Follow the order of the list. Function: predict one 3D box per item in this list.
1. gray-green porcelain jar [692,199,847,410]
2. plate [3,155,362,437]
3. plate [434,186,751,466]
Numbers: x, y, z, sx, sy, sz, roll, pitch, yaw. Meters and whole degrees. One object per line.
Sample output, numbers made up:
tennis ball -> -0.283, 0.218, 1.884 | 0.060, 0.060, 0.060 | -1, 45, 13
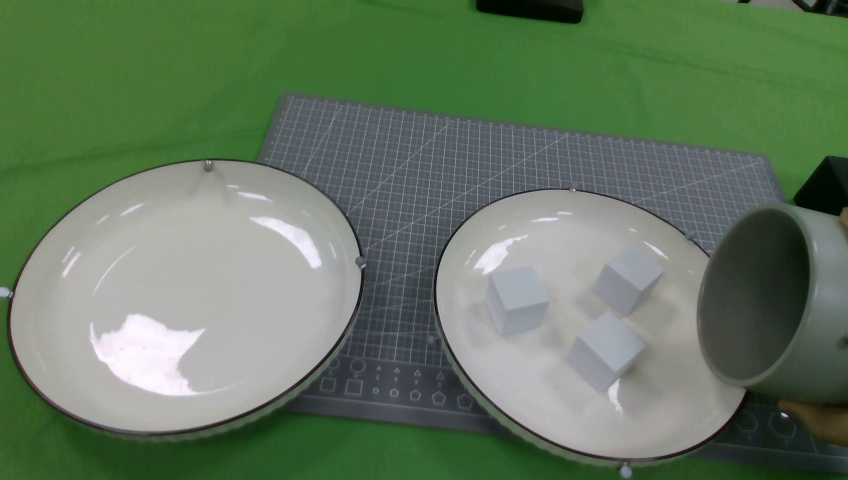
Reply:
gray-green porcelain jar -> 0.238, 0.042, 0.341 | 0.127, 0.106, 0.105 | 14, 50, -4
plate -> -0.144, 0.029, 0.387 | 0.209, 0.038, 0.207 | 3, 51, -3
plate -> 0.108, 0.050, 0.404 | 0.208, 0.039, 0.205 | 4, 50, -4
